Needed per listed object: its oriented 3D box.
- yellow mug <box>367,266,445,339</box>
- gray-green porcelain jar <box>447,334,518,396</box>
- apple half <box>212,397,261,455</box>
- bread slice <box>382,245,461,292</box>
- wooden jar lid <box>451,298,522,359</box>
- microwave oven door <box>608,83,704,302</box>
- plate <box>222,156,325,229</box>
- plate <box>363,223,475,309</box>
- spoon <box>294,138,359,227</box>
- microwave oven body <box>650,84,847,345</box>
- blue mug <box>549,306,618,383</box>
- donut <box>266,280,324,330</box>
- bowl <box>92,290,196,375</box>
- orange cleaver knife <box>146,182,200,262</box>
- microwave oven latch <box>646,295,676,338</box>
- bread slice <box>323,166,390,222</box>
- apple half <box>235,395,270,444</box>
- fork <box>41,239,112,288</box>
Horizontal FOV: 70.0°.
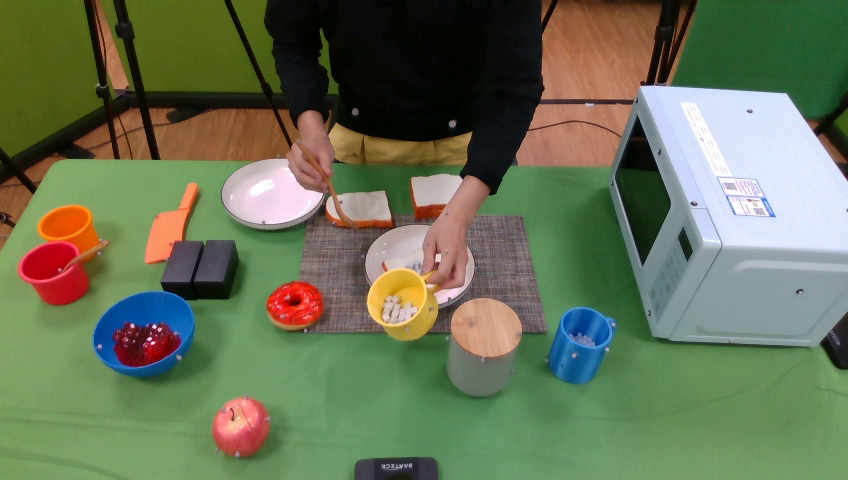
[{"bbox_3d":[-0.021,0.090,0.967,0.131,0.064,0.099,-39,56,-5],"label":"yellow mug"},{"bbox_3d":[0.091,0.178,0.960,0.106,0.127,0.105,2,47,-2],"label":"gray-green porcelain jar"},{"bbox_3d":[-0.276,0.276,0.877,0.053,0.075,0.080,-29,58,-21],"label":"apple half"},{"bbox_3d":[0.000,0.054,1.129,0.131,0.019,0.104,-20,51,-21],"label":"bread slice"},{"bbox_3d":[0.093,0.135,0.914,0.108,0.021,0.107,3,48,-3],"label":"wooden jar lid"},{"bbox_3d":[0.424,-0.096,1.138,0.039,0.245,0.353,2,47,-1],"label":"microwave oven door"},{"bbox_3d":[-0.308,-0.095,1.251,0.209,0.038,0.208,3,47,-2],"label":"plate"},{"bbox_3d":[-0.009,0.054,1.127,0.208,0.039,0.206,2,47,-2],"label":"plate"},{"bbox_3d":[-0.164,-0.095,1.028,0.021,0.195,0.041,-31,31,-6],"label":"spoon"},{"bbox_3d":[0.569,-0.054,1.116,0.326,0.261,0.439,2,46,-1],"label":"microwave oven body"},{"bbox_3d":[0.269,0.167,0.997,0.116,0.106,0.082,-19,51,-21],"label":"blue mug"},{"bbox_3d":[-0.223,0.112,1.051,0.099,0.048,0.098,2,46,-2],"label":"donut"},{"bbox_3d":[-0.436,0.161,0.971,0.151,0.077,0.150,2,46,-2],"label":"bowl"},{"bbox_3d":[-0.494,-0.039,1.199,0.077,0.012,0.210,-3,48,2],"label":"orange cleaver knife"},{"bbox_3d":[0.413,0.133,1.061,0.030,0.029,0.078,4,46,1],"label":"microwave oven latch"},{"bbox_3d":[-0.140,-0.092,1.224,0.134,0.018,0.106,-19,51,6],"label":"bread slice"},{"bbox_3d":[-0.245,0.259,0.893,0.033,0.082,0.081,-29,55,-22],"label":"apple half"},{"bbox_3d":[-0.591,0.040,1.028,0.207,0.019,0.028,-27,36,29],"label":"fork"}]
